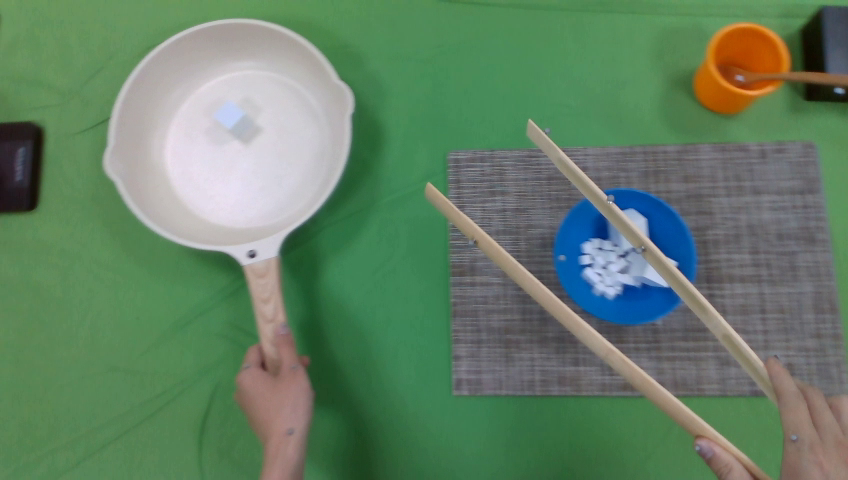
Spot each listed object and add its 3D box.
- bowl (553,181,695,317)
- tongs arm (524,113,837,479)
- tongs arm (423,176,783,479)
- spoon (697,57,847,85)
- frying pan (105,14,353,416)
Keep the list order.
[{"bbox_3d":[0.218,0.016,0.689,0.151,0.077,0.151,-1,80,3],"label":"bowl"},{"bbox_3d":[0.192,0.029,0.517,0.051,0.027,0.381,-31,66,-18],"label":"tongs arm"},{"bbox_3d":[0.137,0.066,0.497,0.385,0.028,0.028,41,63,20],"label":"tongs arm"},{"bbox_3d":[0.400,-0.190,0.684,0.022,0.192,0.041,41,80,-34],"label":"spoon"},{"bbox_3d":[-0.205,-0.035,0.714,0.307,0.103,0.484,-15,71,2],"label":"frying pan"}]
